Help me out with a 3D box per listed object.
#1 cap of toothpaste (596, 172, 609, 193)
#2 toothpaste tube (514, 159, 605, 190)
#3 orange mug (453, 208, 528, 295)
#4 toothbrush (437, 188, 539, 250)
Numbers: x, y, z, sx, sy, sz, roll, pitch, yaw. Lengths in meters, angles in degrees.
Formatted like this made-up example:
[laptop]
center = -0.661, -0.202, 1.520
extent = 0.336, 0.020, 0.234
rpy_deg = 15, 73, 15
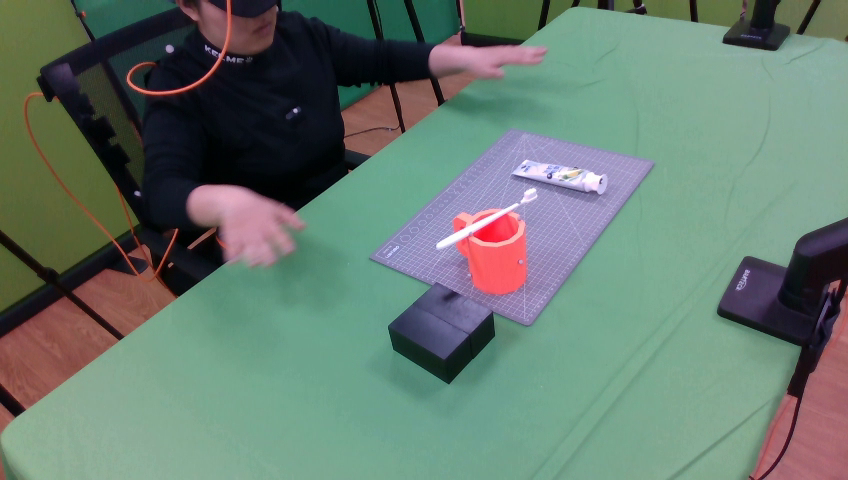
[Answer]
[cap of toothpaste]
center = 0.301, -0.098, 1.022
extent = 0.011, 0.037, 0.037
rpy_deg = 19, 48, 39
[toothpaste tube]
center = 0.242, -0.117, 1.069
extent = 0.164, 0.034, 0.055
rpy_deg = 17, 42, 35
[orange mug]
center = 0.094, 0.009, 0.894
extent = 0.125, 0.101, 0.084
rpy_deg = 32, 55, 33
[toothbrush]
center = 0.093, -0.031, 0.859
extent = 0.182, 0.017, 0.014
rpy_deg = -28, 52, -21
